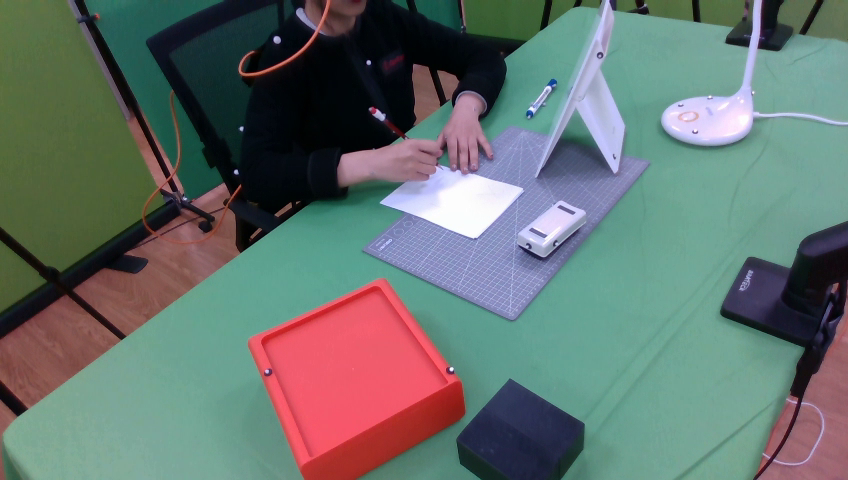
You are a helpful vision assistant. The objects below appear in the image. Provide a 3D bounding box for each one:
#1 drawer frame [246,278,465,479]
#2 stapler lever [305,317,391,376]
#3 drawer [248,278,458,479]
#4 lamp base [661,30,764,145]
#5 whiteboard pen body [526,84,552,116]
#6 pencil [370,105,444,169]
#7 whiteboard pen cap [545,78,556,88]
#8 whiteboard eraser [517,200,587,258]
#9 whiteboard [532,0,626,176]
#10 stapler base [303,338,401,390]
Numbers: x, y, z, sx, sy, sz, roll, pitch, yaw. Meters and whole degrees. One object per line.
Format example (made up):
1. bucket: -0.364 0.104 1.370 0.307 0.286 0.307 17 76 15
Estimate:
1. drawer frame: -0.088 0.168 0.752 0.202 0.083 0.211 -24 43 -18
2. stapler lever: -0.099 0.137 0.789 0.118 0.040 0.026 -22 46 -12
3. drawer: -0.092 0.168 0.756 0.195 0.073 0.210 -24 43 -18
4. lamp base: 0.535 -0.287 1.096 0.179 0.181 0.159 -10 40 -4
5. whiteboard pen body: 0.251 -0.305 1.298 0.017 0.017 0.141 15 45 26
6. pencil: -0.026 -0.177 1.067 0.012 0.196 0.012 -26 46 31
7. whiteboard pen cap: 0.280 -0.344 1.335 0.018 0.018 0.033 15 45 26
8. whiteboard eraser: 0.200 -0.016 0.943 0.113 0.042 0.055 -37 46 -29
9. whiteboard: 0.321 -0.258 1.050 0.144 0.306 0.217 22 45 5
10. stapler base: -0.096 0.159 0.812 0.131 0.024 0.041 -17 44 -17
